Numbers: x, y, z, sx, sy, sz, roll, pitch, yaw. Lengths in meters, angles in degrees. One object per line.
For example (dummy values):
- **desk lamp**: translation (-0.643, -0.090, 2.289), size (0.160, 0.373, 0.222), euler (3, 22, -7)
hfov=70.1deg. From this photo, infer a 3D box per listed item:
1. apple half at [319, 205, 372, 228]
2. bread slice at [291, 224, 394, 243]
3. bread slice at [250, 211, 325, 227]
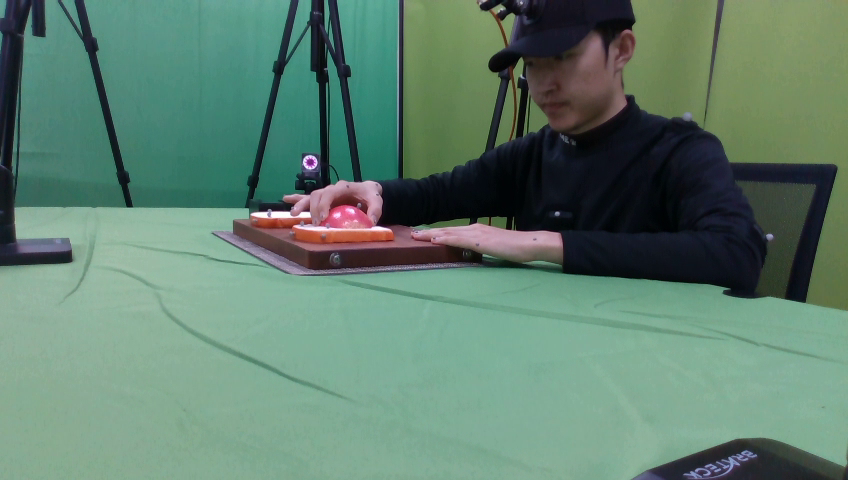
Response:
- **apple half**: translation (-0.112, -0.035, 0.876), size (0.081, 0.033, 0.081), euler (2, 6, 0)
- **bread slice**: translation (-0.122, -0.011, 0.869), size (0.132, 0.019, 0.104), euler (-2, 7, -32)
- **bread slice**: translation (-0.223, -0.036, 1.021), size (0.135, 0.018, 0.106), euler (-4, 9, -33)
